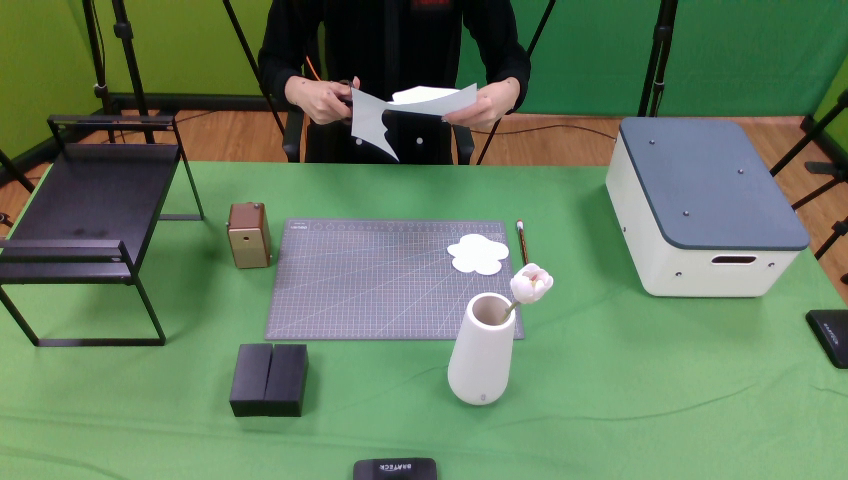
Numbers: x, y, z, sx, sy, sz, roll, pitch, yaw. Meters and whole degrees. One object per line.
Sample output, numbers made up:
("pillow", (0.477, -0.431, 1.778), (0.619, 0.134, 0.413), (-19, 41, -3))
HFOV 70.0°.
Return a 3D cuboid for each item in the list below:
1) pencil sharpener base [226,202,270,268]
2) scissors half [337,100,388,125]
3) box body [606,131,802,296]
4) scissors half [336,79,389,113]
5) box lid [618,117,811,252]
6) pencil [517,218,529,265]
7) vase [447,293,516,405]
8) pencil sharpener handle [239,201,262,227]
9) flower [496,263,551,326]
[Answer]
("pencil sharpener base", (-0.323, -0.010, 1.123), (0.061, 0.107, 0.076), (-3, 46, -7))
("scissors half", (-0.109, -0.226, 1.059), (0.013, 0.040, 0.174), (-11, 10, -33))
("box body", (0.530, -0.067, 1.204), (0.254, 0.161, 0.361), (0, 46, -4))
("scissors half", (-0.109, -0.247, 1.053), (0.013, 0.040, 0.174), (-17, 36, -32))
("box lid", (0.534, -0.117, 1.149), (0.263, 0.015, 0.369), (0, 47, -3))
("pencil", (0.201, 0.028, 1.197), (0.012, 0.012, 0.193), (1, 48, -3))
("vase", (0.091, 0.169, 0.921), (0.098, 0.201, 0.097), (3, 47, -3))
("pencil sharpener handle", (-0.325, -0.055, 1.150), (0.036, 0.068, 0.030), (-13, 46, 4))
("flower", (0.102, 0.120, 0.853), (0.044, 0.363, 0.038), (-2, 64, -10))
